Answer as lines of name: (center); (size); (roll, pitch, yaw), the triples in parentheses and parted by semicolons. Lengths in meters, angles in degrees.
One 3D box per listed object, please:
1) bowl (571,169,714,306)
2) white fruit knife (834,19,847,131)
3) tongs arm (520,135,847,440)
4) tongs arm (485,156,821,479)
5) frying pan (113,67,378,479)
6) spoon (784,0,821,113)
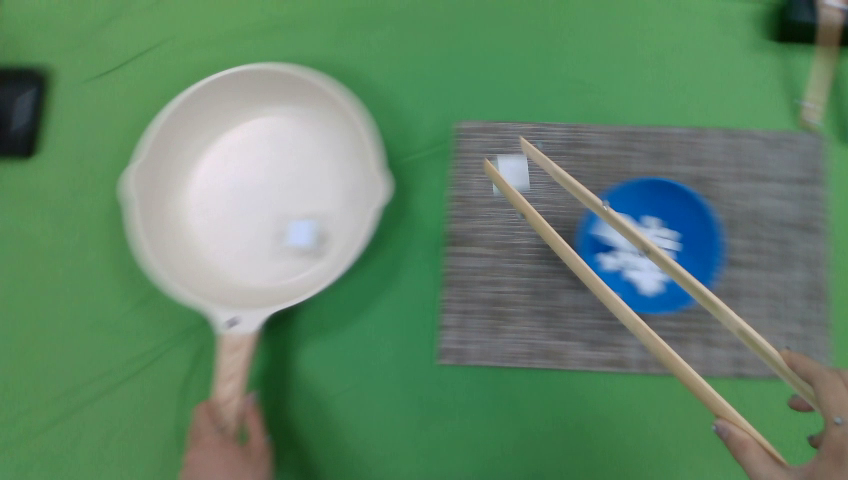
bowl: (0.236, 0.003, 0.684); (0.151, 0.077, 0.151); (0, 81, 3)
white fruit knife: (0.505, -0.234, 0.713); (0.016, 0.027, 0.207); (2, 95, -2)
tongs arm: (0.191, 0.032, 0.501); (0.051, 0.027, 0.380); (-35, 57, -12)
tongs arm: (0.167, 0.047, 0.496); (0.028, 0.028, 0.383); (-31, 56, -14)
frying pan: (-0.208, 0.042, 0.689); (0.307, 0.103, 0.485); (1, 72, 4)
spoon: (0.450, -0.249, 0.712); (0.041, 0.022, 0.194); (13, 103, 27)
